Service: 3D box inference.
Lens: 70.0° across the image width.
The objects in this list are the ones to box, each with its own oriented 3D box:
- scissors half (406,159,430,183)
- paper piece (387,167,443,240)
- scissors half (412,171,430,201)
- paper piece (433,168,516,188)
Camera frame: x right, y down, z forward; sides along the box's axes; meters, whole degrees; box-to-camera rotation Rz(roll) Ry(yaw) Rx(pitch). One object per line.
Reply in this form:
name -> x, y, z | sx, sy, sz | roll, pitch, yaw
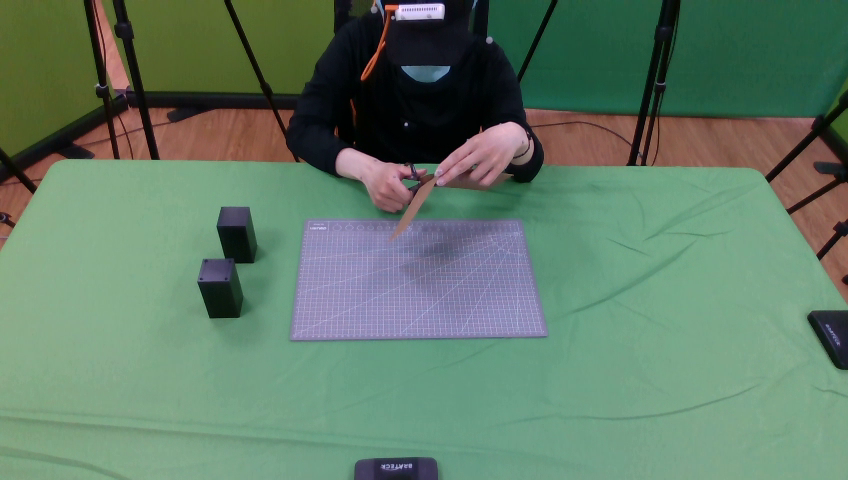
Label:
scissors half -> -0.010, -0.128, 1.173 | 0.013, 0.040, 0.174 | -20, 22, -10
paper piece -> -0.019, -0.063, 1.093 | 0.004, 0.135, 0.135 | 34, 73, -9
scissors half -> -0.004, -0.106, 1.175 | 0.013, 0.175, 0.040 | -15, 81, -11
paper piece -> 0.084, -0.116, 1.137 | 0.138, 0.136, 0.008 | 1, 84, -18
